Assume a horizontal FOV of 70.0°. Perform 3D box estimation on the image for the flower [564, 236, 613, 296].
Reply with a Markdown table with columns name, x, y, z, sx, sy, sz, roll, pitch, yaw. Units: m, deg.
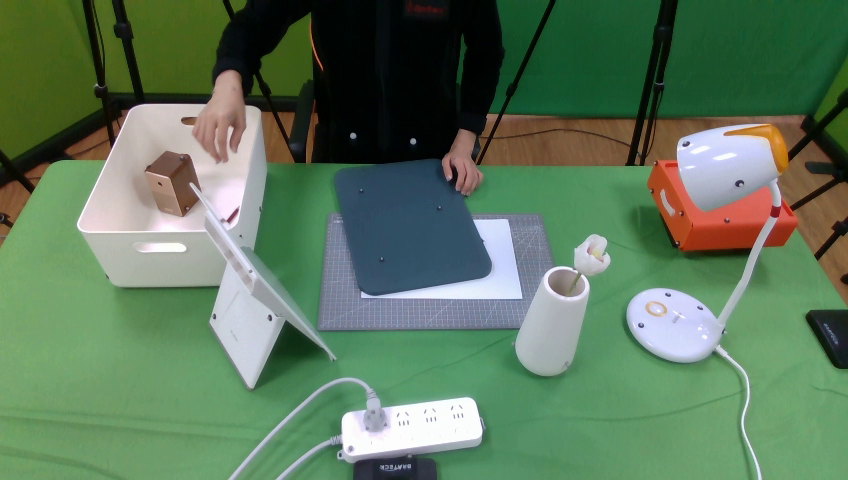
| name | x | y | z | sx | sy | sz | roll | pitch | yaw |
| --- | --- | --- | --- | --- | --- | --- | --- | --- | --- |
| flower | 0.206 | 0.088 | 0.892 | 0.038 | 0.363 | 0.044 | -17 | 66 | -10 |

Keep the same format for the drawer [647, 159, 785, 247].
| name | x | y | z | sx | sy | sz | roll | pitch | yaw |
| --- | --- | --- | --- | --- | --- | --- | --- | --- | --- |
| drawer | 0.582 | -0.079 | 1.214 | 0.212 | 0.073 | 0.193 | -1 | 46 | -5 |

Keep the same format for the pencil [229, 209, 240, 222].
| name | x | y | z | sx | sy | sz | roll | pitch | yaw |
| --- | --- | --- | --- | --- | --- | --- | --- | --- | --- |
| pencil | -0.401 | -0.008 | 1.176 | 0.012 | 0.012 | 0.193 | 15 | 44 | 10 |

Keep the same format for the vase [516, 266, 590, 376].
| name | x | y | z | sx | sy | sz | roll | pitch | yaw |
| --- | --- | --- | --- | --- | --- | --- | --- | --- | --- |
| vase | 0.208 | 0.132 | 0.964 | 0.098 | 0.201 | 0.097 | 3 | 46 | -3 |

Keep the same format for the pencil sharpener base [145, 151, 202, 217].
| name | x | y | z | sx | sy | sz | roll | pitch | yaw |
| --- | --- | --- | --- | --- | --- | --- | --- | --- | --- |
| pencil sharpener base | -0.491 | -0.112 | 1.199 | 0.061 | 0.107 | 0.076 | 15 | 47 | 12 |

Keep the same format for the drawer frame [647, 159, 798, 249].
| name | x | y | z | sx | sy | sz | roll | pitch | yaw |
| --- | --- | --- | --- | --- | --- | --- | --- | --- | --- |
| drawer frame | 0.588 | -0.077 | 1.219 | 0.214 | 0.083 | 0.200 | -2 | 45 | -5 |

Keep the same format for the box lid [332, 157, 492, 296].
| name | x | y | z | sx | sy | sz | roll | pitch | yaw |
| --- | --- | --- | --- | --- | --- | --- | --- | --- | --- |
| box lid | -0.034 | -0.041 | 1.241 | 0.264 | 0.015 | 0.369 | -9 | 47 | -12 |

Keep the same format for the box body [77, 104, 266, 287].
| name | x | y | z | sx | sy | sz | roll | pitch | yaw |
| --- | --- | --- | --- | --- | --- | --- | --- | --- | --- |
| box body | -0.447 | -0.088 | 1.150 | 0.254 | 0.161 | 0.361 | -1 | 46 | -5 |

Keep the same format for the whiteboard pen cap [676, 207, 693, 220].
| name | x | y | z | sx | sy | sz | roll | pitch | yaw |
| --- | --- | --- | --- | --- | --- | --- | --- | --- | --- |
| whiteboard pen cap | 0.524 | -0.053 | 1.216 | 0.033 | 0.018 | 0.018 | -28 | 54 | -23 |

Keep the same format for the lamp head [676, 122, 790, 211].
| name | x | y | z | sx | sy | sz | roll | pitch | yaw |
| --- | --- | --- | --- | --- | --- | --- | --- | --- | --- |
| lamp head | 0.423 | -0.104 | 0.819 | 0.122 | 0.113 | 0.112 | -13 | 33 | 40 |

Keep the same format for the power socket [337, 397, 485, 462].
| name | x | y | z | sx | sy | sz | roll | pitch | yaw |
| --- | --- | --- | --- | --- | --- | --- | --- | --- | --- |
| power socket | -0.018 | 0.285 | 0.915 | 0.227 | 0.033 | 0.071 | -5 | 46 | -8 |

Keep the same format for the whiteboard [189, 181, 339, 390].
| name | x | y | z | sx | sy | sz | roll | pitch | yaw |
| --- | --- | --- | --- | --- | --- | --- | --- | --- | --- |
| whiteboard | -0.292 | 0.096 | 0.929 | 0.144 | 0.307 | 0.216 | -37 | 57 | -10 |

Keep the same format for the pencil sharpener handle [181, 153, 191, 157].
| name | x | y | z | sx | sy | sz | roll | pitch | yaw |
| --- | --- | --- | --- | --- | --- | --- | --- | --- | --- |
| pencil sharpener handle | -0.478 | -0.156 | 1.225 | 0.036 | 0.068 | 0.030 | 23 | 48 | 3 |

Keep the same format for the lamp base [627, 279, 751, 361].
| name | x | y | z | sx | sy | sz | roll | pitch | yaw |
| --- | --- | --- | --- | --- | --- | --- | --- | --- | --- |
| lamp base | 0.460 | 0.100 | 1.027 | 0.178 | 0.181 | 0.160 | 27 | 51 | 17 |

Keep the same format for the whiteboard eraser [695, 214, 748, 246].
| name | x | y | z | sx | sy | sz | roll | pitch | yaw |
| --- | --- | --- | --- | --- | --- | --- | --- | --- | --- |
| whiteboard eraser | 0.592 | -0.019 | 1.209 | 0.113 | 0.042 | 0.055 | 12 | 27 | -36 |

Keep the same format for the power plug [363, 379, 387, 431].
| name | x | y | z | sx | sy | sz | roll | pitch | yaw |
| --- | --- | --- | --- | --- | --- | --- | --- | --- | --- |
| power plug | -0.072 | 0.252 | 0.910 | 0.035 | 0.053 | 0.072 | 3 | 45 | -1 |

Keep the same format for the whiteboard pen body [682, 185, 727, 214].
| name | x | y | z | sx | sy | sz | roll | pitch | yaw |
| --- | --- | --- | --- | --- | --- | --- | --- | --- | --- |
| whiteboard pen body | 0.572 | -0.081 | 1.237 | 0.141 | 0.017 | 0.017 | -27 | 54 | -25 |
